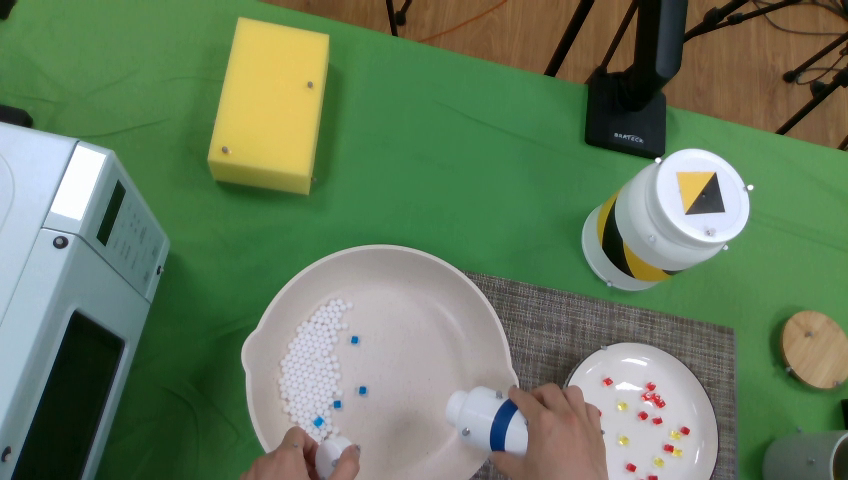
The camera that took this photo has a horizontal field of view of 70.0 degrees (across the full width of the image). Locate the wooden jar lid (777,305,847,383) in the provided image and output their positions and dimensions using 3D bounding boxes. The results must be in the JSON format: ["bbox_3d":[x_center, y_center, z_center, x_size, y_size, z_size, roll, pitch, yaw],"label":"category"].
[{"bbox_3d":[0.539,0.145,0.842,0.109,0.021,0.108,3,73,-10],"label":"wooden jar lid"}]

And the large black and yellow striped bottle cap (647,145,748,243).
[{"bbox_3d":[0.307,-0.053,0.680,0.115,0.019,0.114,4,70,-10],"label":"large black and yellow striped bottle cap"}]

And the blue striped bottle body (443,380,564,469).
[{"bbox_3d":[0.079,0.187,0.633,0.120,0.064,0.063,13,64,33],"label":"blue striped bottle body"}]

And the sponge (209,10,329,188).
[{"bbox_3d":[-0.193,-0.180,0.776,0.118,0.061,0.205,7,72,-9],"label":"sponge"}]

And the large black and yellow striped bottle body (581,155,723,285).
[{"bbox_3d":[0.292,-0.027,0.760,0.131,0.184,0.130,3,71,-10],"label":"large black and yellow striped bottle body"}]

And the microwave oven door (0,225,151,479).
[{"bbox_3d":[-0.332,0.187,0.516,0.039,0.244,0.353,12,70,-7],"label":"microwave oven door"}]

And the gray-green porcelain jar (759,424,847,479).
[{"bbox_3d":[0.485,0.278,0.732,0.106,0.127,0.105,3,72,-10],"label":"gray-green porcelain jar"}]

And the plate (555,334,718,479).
[{"bbox_3d":[0.257,0.222,0.747,0.210,0.038,0.208,3,72,-9],"label":"plate"}]

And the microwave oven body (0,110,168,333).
[{"bbox_3d":[-0.467,0.117,0.517,0.327,0.261,0.439,13,71,-7],"label":"microwave oven body"}]

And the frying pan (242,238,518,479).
[{"bbox_3d":[-0.062,0.235,0.646,0.307,0.103,0.484,11,63,-5],"label":"frying pan"}]

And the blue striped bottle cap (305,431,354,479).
[{"bbox_3d":[-0.090,0.204,0.575,0.044,0.021,0.044,-8,68,22],"label":"blue striped bottle cap"}]

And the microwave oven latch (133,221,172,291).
[{"bbox_3d":[-0.310,0.015,0.684,0.030,0.029,0.078,15,71,-6],"label":"microwave oven latch"}]
